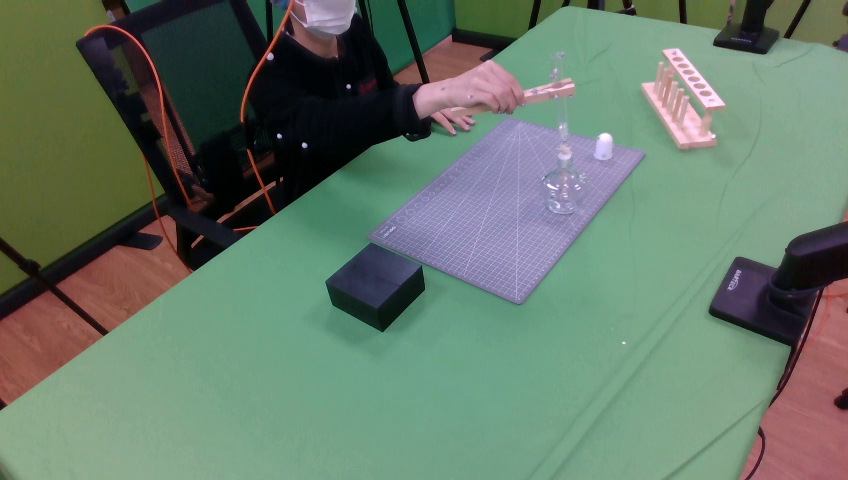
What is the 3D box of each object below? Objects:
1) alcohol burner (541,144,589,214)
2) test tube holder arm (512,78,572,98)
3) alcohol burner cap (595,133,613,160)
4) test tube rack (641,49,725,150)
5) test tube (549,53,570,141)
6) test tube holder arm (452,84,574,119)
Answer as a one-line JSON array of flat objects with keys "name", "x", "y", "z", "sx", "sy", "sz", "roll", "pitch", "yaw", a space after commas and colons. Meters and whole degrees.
[{"name": "alcohol burner", "x": 0.229, "y": -0.102, "z": 0.983, "sx": 0.078, "sy": 0.119, "sz": 0.077, "roll": -6, "pitch": 41, "yaw": 5}, {"name": "test tube holder arm", "x": 0.171, "y": -0.215, "z": 0.877, "sx": 0.088, "sy": 0.015, "sz": 0.010, "roll": -17, "pitch": 43, "yaw": -1}, {"name": "alcohol burner cap", "x": 0.330, "y": -0.172, "z": 1.104, "sx": 0.034, "sy": 0.048, "sz": 0.033, "roll": -5, "pitch": 40, "yaw": 5}, {"name": "test tube rack", "x": 0.495, "y": -0.279, "z": 1.175, "sx": 0.067, "sy": 0.085, "sz": 0.241, "roll": -5, "pitch": 41, "yaw": 3}, {"name": "test tube", "x": 0.200, "y": -0.206, "z": 0.887, "sx": 0.017, "sy": 0.151, "sz": 0.017, "roll": -10, "pitch": 46, "yaw": 12}, {"name": "test tube holder arm", "x": 0.128, "y": -0.201, "z": 0.875, "sx": 0.178, "sy": 0.015, "sz": 0.013, "roll": -12, "pitch": 43, "yaw": 4}]
